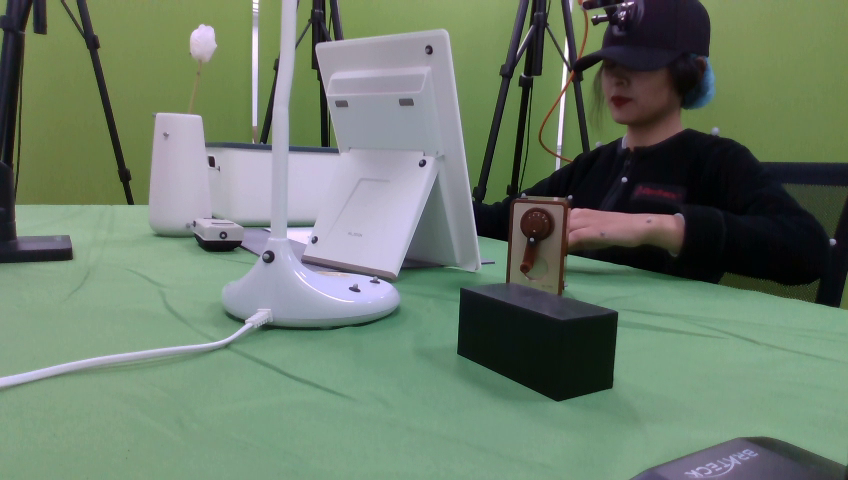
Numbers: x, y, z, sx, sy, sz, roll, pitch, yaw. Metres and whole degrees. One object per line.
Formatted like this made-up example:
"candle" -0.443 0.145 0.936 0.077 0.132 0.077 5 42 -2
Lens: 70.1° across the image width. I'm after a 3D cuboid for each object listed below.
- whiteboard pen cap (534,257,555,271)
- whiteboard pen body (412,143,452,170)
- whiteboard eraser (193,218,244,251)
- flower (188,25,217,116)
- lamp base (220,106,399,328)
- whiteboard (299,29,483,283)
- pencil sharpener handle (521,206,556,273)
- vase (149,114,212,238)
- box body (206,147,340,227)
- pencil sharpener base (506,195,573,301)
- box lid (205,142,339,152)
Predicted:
"whiteboard pen cap" 0.167 0.033 0.839 0.018 0.018 0.033 -1 5 -22
"whiteboard pen body" 0.014 -0.152 1.107 0.017 0.017 0.141 7 27 29
"whiteboard eraser" -0.307 -0.010 0.900 0.056 0.042 0.112 -4 11 -28
"flower" -0.394 -0.189 1.011 0.044 0.361 0.038 -1 -13 27
"lamp base" -0.102 -0.023 0.531 0.160 0.180 0.179 4 10 10
"whiteboard" -0.074 -0.082 0.742 0.216 0.305 0.144 9 29 38
"pencil sharpener handle" 0.111 0.000 0.613 0.036 0.067 0.031 13 10 14
"vase" -0.405 -0.106 1.005 0.098 0.200 0.098 2 6 0
"box body" -0.276 -0.122 1.320 0.366 0.160 0.253 -2 9 -30
"pencil sharpener base" 0.127 0.007 0.663 0.061 0.107 0.077 5 8 15
"box lid" -0.270 -0.196 1.310 0.373 0.015 0.262 -2 9 -30
